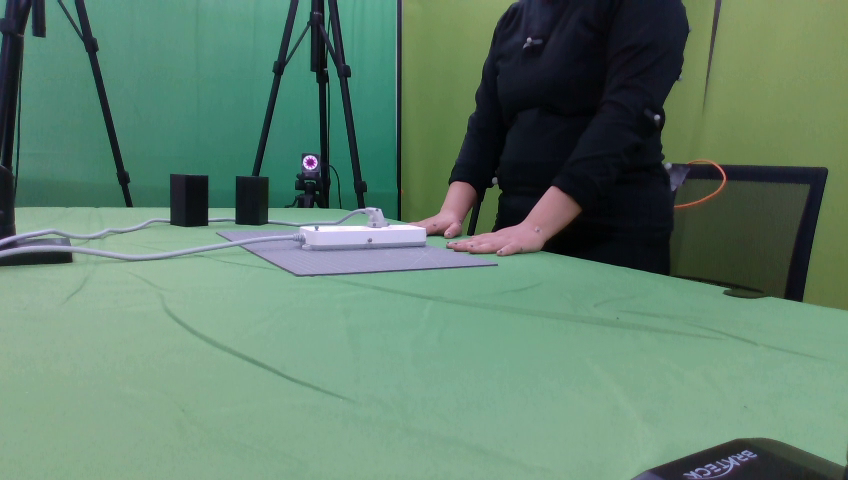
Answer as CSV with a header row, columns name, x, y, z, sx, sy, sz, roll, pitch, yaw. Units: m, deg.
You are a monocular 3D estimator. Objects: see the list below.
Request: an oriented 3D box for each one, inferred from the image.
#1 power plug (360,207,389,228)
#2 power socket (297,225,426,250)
name,x,y,z,sx,sy,sz,roll,pitch,yaw
power plug,-0.085,-0.029,1.032,0.035,0.052,0.072,1,5,-21
power socket,-0.099,-0.006,0.992,0.228,0.032,0.072,-2,7,-31
